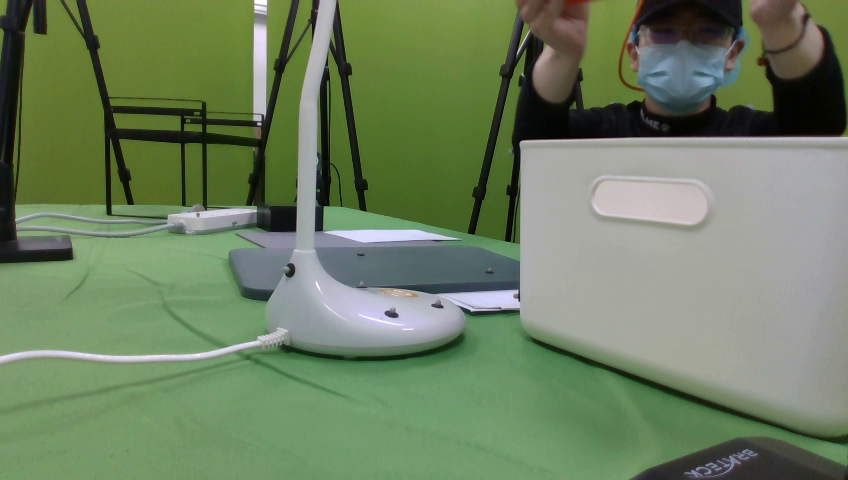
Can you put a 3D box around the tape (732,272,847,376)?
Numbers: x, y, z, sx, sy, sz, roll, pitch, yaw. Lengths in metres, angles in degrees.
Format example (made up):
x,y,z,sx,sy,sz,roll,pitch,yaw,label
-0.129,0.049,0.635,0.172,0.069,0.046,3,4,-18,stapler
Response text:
x,y,z,sx,sy,sz,roll,pitch,yaw,label
0.294,0.059,0.455,0.117,0.052,0.117,2,7,0,tape

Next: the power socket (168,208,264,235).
x,y,z,sx,sy,sz,roll,pitch,yaw,label
-0.381,-0.038,1.129,0.072,0.032,0.227,4,8,17,power socket

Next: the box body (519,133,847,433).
x,y,z,sx,sy,sz,roll,pitch,yaw,label
0.279,0.005,0.485,0.366,0.160,0.253,-3,9,-36,box body

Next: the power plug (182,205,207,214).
x,y,z,sx,sy,sz,roll,pitch,yaw,label
-0.456,-0.041,1.195,0.052,0.035,0.072,0,40,24,power plug

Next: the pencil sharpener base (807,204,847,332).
x,y,z,sx,sy,sz,roll,pitch,yaw,label
0.386,0.026,0.519,0.062,0.107,0.076,-5,11,-43,pencil sharpener base

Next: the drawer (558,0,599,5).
x,y,z,sx,sy,sz,roll,pitch,yaw,label
0.202,-0.305,0.550,0.194,0.073,0.212,3,-5,23,drawer

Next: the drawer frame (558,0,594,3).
x,y,z,sx,sy,sz,roll,pitch,yaw,label
0.201,-0.307,0.546,0.201,0.082,0.214,3,-5,22,drawer frame

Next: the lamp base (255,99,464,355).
x,y,z,sx,sy,sz,roll,pitch,yaw,label
-0.052,-0.015,0.467,0.160,0.180,0.180,6,11,33,lamp base

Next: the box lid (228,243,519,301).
x,y,z,sx,sy,sz,roll,pitch,yaw,label
-0.044,0.033,0.757,0.373,0.015,0.262,-1,9,-22,box lid
